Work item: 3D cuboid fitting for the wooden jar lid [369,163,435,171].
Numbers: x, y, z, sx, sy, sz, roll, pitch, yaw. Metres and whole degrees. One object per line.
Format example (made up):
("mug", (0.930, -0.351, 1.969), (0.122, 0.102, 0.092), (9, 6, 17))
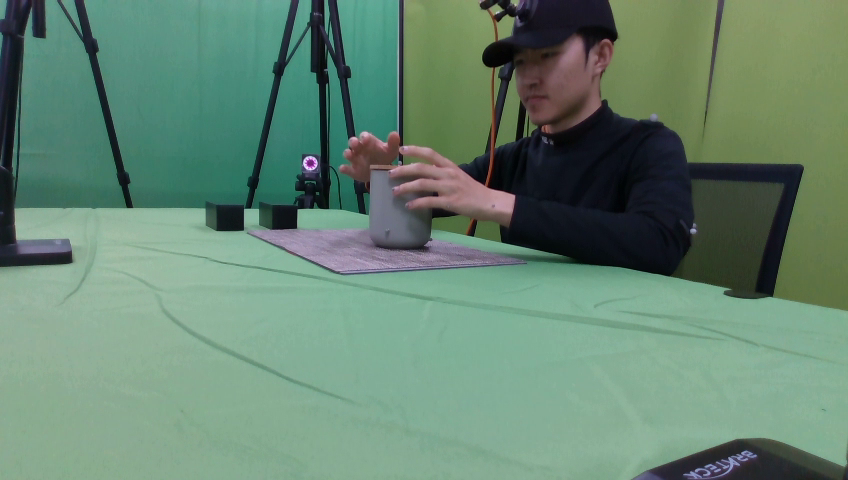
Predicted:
("wooden jar lid", (-0.037, -0.115, 0.994), (0.108, 0.020, 0.108), (3, 5, 0))

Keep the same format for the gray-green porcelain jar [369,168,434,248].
("gray-green porcelain jar", (-0.038, -0.054, 1.002), (0.106, 0.126, 0.106), (2, 7, 0))
